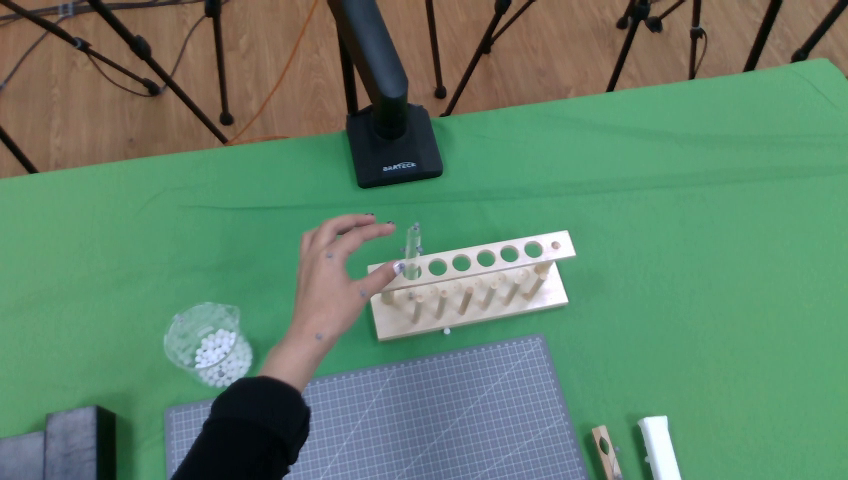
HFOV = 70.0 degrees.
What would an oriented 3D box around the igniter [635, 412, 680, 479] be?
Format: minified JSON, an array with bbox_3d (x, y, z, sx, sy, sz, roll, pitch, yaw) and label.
[{"bbox_3d":[0.276,0.325,0.646,0.057,0.025,0.274,1,64,-17],"label":"igniter"}]

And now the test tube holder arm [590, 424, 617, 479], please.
[{"bbox_3d":[0.206,0.251,0.681,0.010,0.015,0.087,-20,67,10],"label":"test tube holder arm"}]

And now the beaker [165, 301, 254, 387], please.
[{"bbox_3d":[-0.230,0.118,0.670,0.073,0.101,0.084,41,68,14],"label":"beaker"}]

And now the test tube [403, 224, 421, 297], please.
[{"bbox_3d":[-0.015,0.027,0.680,0.017,0.151,0.017,1,60,-2],"label":"test tube"}]

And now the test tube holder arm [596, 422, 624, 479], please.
[{"bbox_3d":[0.223,0.289,0.663,0.013,0.015,0.177,-21,67,10],"label":"test tube holder arm"}]

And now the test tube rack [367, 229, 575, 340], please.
[{"bbox_3d":[0.057,0.054,0.728,0.243,0.086,0.066,-10,65,-8],"label":"test tube rack"}]
